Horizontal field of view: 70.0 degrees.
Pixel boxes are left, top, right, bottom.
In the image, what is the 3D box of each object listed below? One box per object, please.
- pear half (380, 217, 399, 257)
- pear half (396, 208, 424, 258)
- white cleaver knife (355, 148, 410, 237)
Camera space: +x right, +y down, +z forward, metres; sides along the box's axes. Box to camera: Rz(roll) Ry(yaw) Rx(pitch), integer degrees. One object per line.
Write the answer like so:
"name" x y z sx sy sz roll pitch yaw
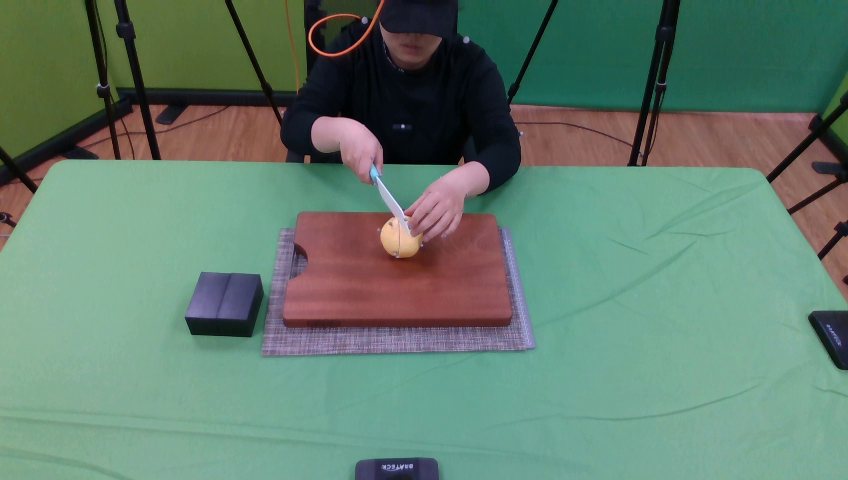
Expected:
"pear half" -0.064 -0.007 1.114 0.031 0.088 0.070 -13 55 -14
"pear half" -0.028 -0.019 1.114 0.056 0.110 0.076 -10 51 -15
"white cleaver knife" -0.081 -0.092 1.125 0.021 0.066 0.284 -19 37 -11
